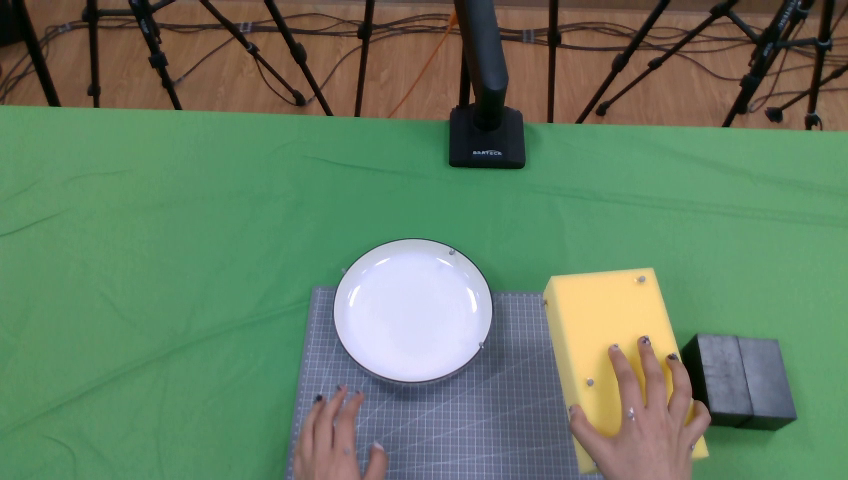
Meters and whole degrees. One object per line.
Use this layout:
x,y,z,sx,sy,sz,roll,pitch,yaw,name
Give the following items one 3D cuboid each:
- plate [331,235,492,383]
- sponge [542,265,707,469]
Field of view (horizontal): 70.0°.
-0.016,0.090,0.791,0.209,0.038,0.207,1,58,-1,plate
0.211,0.135,0.665,0.118,0.061,0.205,-6,64,-3,sponge
